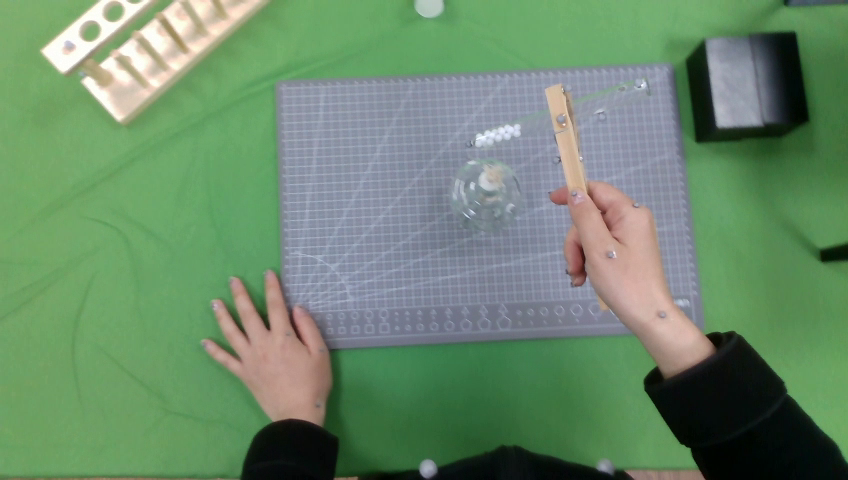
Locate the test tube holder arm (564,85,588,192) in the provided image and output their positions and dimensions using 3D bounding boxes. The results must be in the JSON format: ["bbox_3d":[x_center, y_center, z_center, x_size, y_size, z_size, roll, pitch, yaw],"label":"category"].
[{"bbox_3d":[0.116,-0.079,0.481,0.015,0.010,0.087,-14,78,33],"label":"test tube holder arm"}]

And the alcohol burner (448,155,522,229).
[{"bbox_3d":[0.063,-0.053,0.609,0.078,0.119,0.077,0,80,1],"label":"alcohol burner"}]

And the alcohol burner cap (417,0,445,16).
[{"bbox_3d":[0.007,-0.277,0.676,0.034,0.048,0.033,0,77,2],"label":"alcohol burner cap"}]

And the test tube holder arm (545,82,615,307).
[{"bbox_3d":[0.121,-0.035,0.472,0.015,0.013,0.178,-14,87,33],"label":"test tube holder arm"}]

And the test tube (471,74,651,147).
[{"bbox_3d":[0.103,-0.100,0.482,0.149,0.017,0.017,-13,80,33],"label":"test tube"}]

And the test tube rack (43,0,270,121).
[{"bbox_3d":[-0.265,-0.242,0.645,0.242,0.085,0.066,-43,85,-6],"label":"test tube rack"}]
